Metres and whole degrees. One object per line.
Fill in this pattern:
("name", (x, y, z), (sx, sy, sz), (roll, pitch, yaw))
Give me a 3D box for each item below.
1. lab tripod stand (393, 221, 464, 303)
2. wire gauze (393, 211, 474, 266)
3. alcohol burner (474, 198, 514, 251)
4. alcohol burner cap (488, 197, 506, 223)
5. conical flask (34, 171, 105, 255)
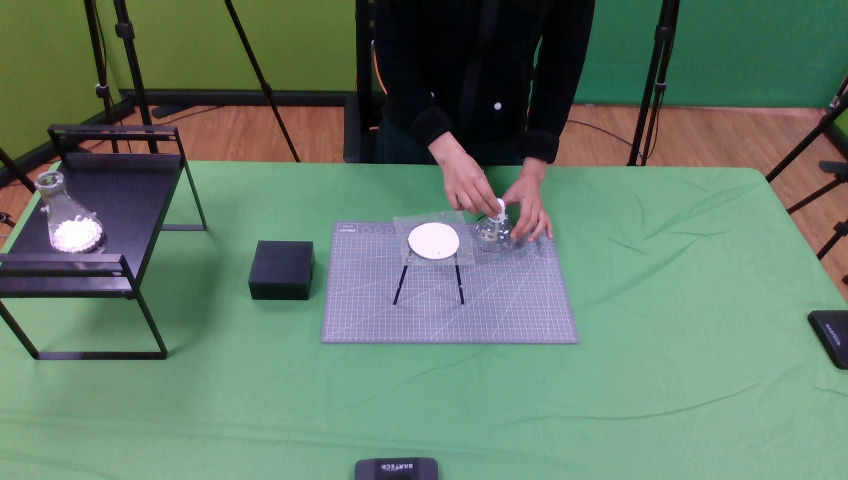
("lab tripod stand", (0.010, 0.045, 1.075), (0.148, 0.132, 0.147), (2, 48, -2))
("wire gauze", (0.015, -0.003, 1.028), (0.125, 0.011, 0.120), (-4, 47, -7))
("alcohol burner", (0.137, -0.035, 1.176), (0.078, 0.120, 0.077), (1, 47, -1))
("alcohol burner cap", (0.139, -0.059, 1.148), (0.034, 0.048, 0.033), (-2, 49, 3))
("conical flask", (-0.522, -0.043, 0.879), (0.075, 0.122, 0.075), (2, 46, -2))
